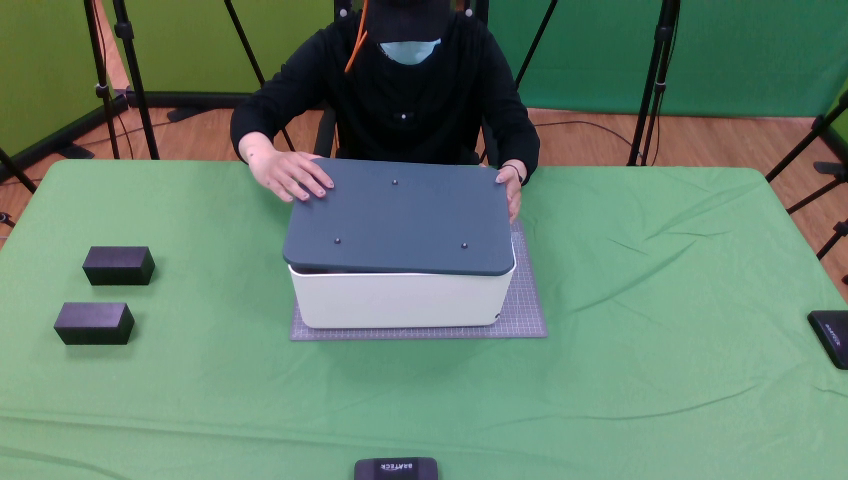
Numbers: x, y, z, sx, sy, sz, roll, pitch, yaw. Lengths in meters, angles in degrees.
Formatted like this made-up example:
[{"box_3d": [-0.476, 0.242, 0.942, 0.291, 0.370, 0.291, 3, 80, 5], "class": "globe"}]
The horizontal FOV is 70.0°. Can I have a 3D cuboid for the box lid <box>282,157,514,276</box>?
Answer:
[{"box_3d": [-0.035, -0.047, 1.021, 0.372, 0.015, 0.261, 2, 47, -1], "class": "box lid"}]

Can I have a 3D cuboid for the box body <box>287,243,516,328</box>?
[{"box_3d": [-0.040, 0.015, 1.075, 0.364, 0.161, 0.252, -1, 47, -4], "class": "box body"}]
